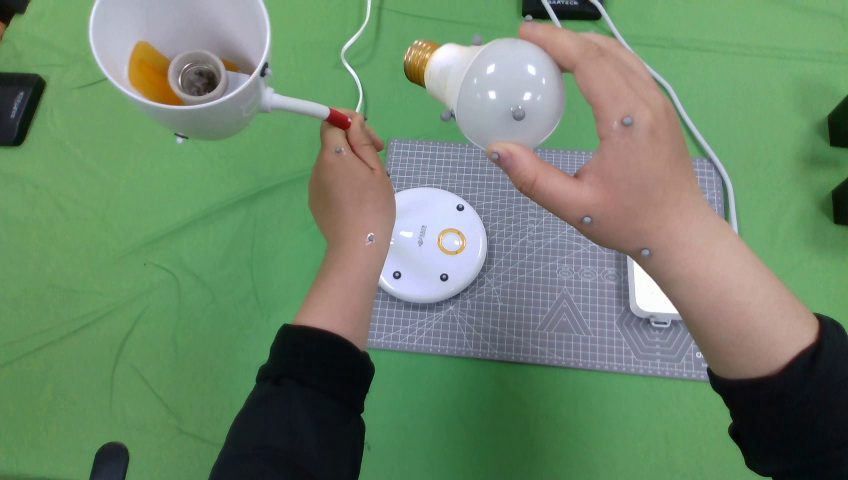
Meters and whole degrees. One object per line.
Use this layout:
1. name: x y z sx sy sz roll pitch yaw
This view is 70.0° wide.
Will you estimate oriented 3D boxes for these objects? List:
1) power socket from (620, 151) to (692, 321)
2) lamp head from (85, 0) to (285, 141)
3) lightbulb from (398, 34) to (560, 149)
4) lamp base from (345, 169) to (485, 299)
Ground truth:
1. power socket: 0.289 -0.012 0.762 0.072 0.033 0.225 3 68 3
2. lamp head: -0.161 -0.122 0.441 0.112 0.123 0.112 1 77 -4
3. lightbulb: 0.025 -0.089 0.336 0.106 0.060 0.059 33 73 32
4. lamp base: -0.020 -0.029 0.704 0.179 0.181 0.159 -2 68 5
